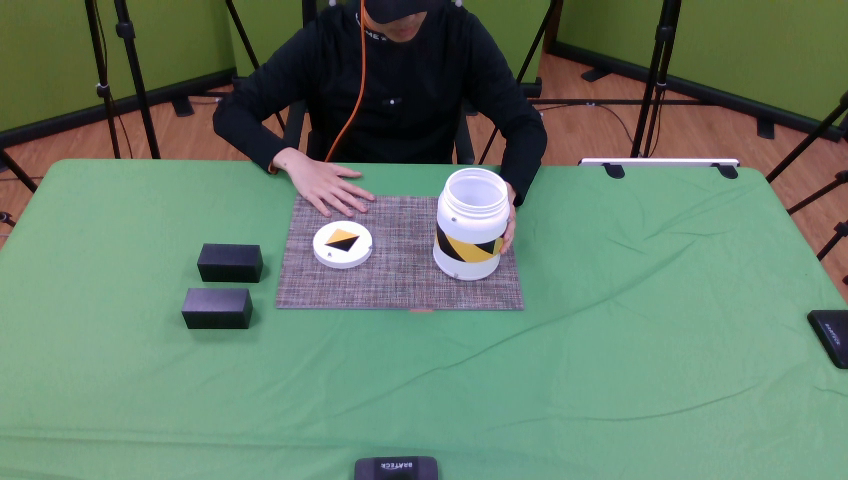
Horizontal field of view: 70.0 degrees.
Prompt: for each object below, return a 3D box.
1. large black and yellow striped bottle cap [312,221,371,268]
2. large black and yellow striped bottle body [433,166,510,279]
[{"bbox_3d":[-0.159,0.006,1.177,0.115,0.019,0.114,2,45,-2],"label":"large black and yellow striped bottle cap"},{"bbox_3d":[0.086,-0.031,1.114,0.131,0.185,0.130,2,46,-2],"label":"large black and yellow striped bottle body"}]
